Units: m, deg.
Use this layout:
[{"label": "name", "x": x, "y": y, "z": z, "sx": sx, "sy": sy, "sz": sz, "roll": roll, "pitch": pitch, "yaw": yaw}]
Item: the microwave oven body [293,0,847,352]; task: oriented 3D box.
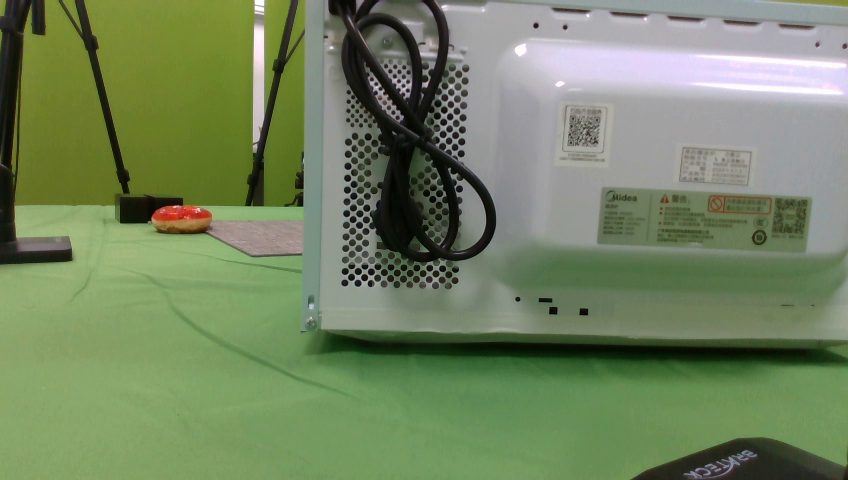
[{"label": "microwave oven body", "x": 0.122, "y": -0.055, "z": 0.550, "sx": 0.442, "sy": 0.260, "sz": 0.325, "roll": 3, "pitch": 7, "yaw": -5}]

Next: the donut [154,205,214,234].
[{"label": "donut", "x": -0.426, "y": -0.037, "z": 1.075, "sx": 0.099, "sy": 0.048, "sz": 0.099, "roll": 2, "pitch": 12, "yaw": 0}]

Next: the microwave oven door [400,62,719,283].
[{"label": "microwave oven door", "x": 0.155, "y": -0.079, "z": 0.716, "sx": 0.356, "sy": 0.243, "sz": 0.039, "roll": 3, "pitch": 8, "yaw": 1}]

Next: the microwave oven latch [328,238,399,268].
[{"label": "microwave oven latch", "x": -0.069, "y": 0.015, "z": 0.694, "sx": 0.079, "sy": 0.029, "sz": 0.030, "roll": 3, "pitch": 7, "yaw": -3}]
